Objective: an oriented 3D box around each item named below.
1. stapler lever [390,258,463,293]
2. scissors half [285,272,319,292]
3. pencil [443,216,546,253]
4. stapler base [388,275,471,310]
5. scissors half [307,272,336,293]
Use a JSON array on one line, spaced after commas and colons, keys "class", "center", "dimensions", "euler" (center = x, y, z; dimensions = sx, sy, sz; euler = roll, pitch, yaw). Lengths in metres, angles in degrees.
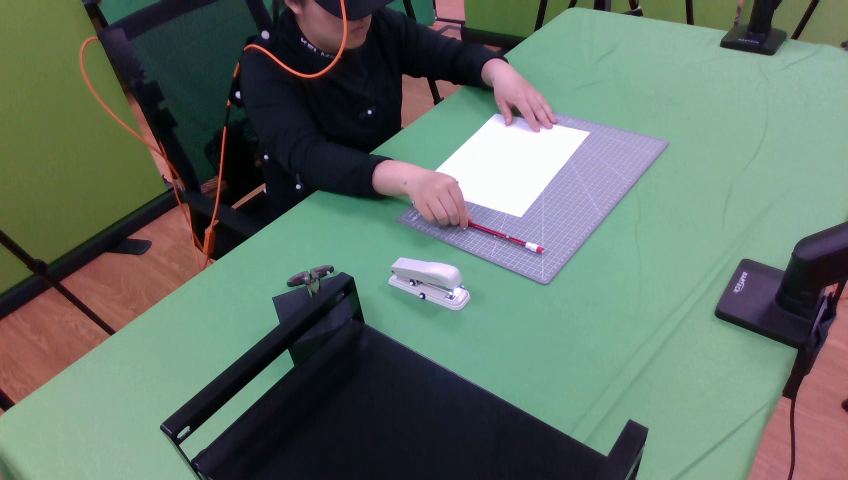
[{"class": "stapler lever", "center": [0.003, 0.046, 0.881], "dimensions": [0.117, 0.040, 0.027], "euler": [17, 44, 29]}, {"class": "scissors half", "center": [-0.171, 0.063, 0.868], "dimensions": [0.040, 0.013, 0.174], "euler": [-9, 6, -21]}, {"class": "pencil", "center": [0.109, -0.012, 0.978], "dimensions": [0.192, 0.012, 0.012], "euler": [21, 48, 31]}, {"class": "stapler base", "center": [0.007, 0.066, 0.897], "dimensions": [0.129, 0.024, 0.041], "euler": [17, 43, 29]}, {"class": "scissors half", "center": [-0.152, 0.061, 0.872], "dimensions": [0.040, 0.013, 0.175], "euler": [-2, 5, -4]}]
